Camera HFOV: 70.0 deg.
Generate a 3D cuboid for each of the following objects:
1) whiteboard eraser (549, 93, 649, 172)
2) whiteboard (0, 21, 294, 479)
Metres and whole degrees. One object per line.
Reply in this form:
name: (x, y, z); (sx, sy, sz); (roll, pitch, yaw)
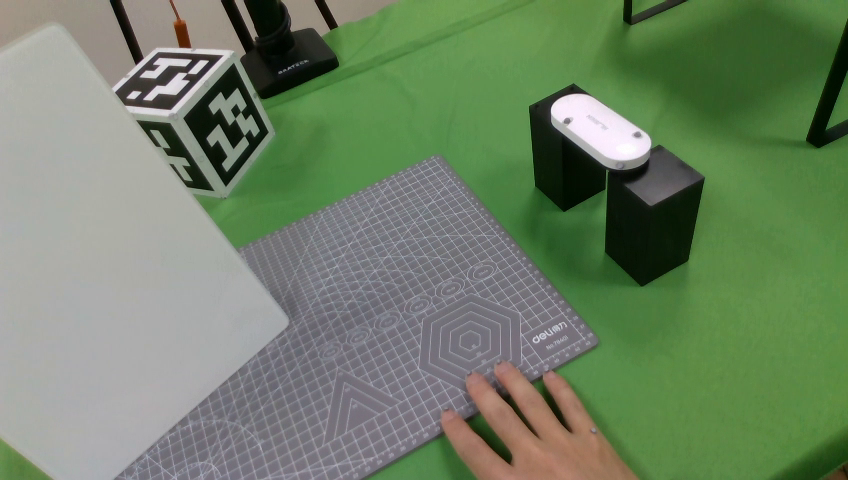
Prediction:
whiteboard eraser: (0.143, -0.092, 0.501); (0.041, 0.019, 0.100); (-28, 49, -12)
whiteboard: (-0.298, 0.019, 0.500); (0.217, 0.308, 0.142); (-43, 33, -21)
